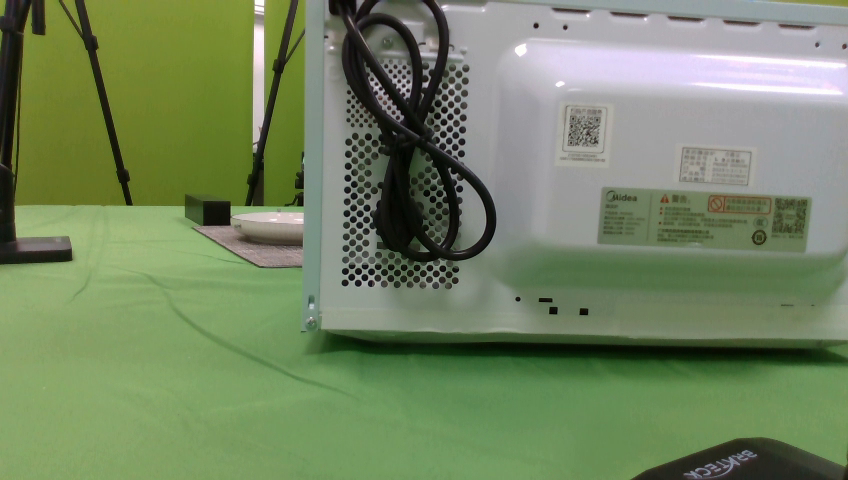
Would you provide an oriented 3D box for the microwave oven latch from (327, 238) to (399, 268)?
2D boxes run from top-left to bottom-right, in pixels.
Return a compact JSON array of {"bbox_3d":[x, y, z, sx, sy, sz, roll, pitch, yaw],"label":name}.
[{"bbox_3d":[-0.069,0.015,0.694,0.079,0.029,0.030,3,7,-3],"label":"microwave oven latch"}]

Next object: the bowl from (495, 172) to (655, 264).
[{"bbox_3d":[0.144,-0.023,0.592,0.151,0.077,0.151,1,11,0],"label":"bowl"}]

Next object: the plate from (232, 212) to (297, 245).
[{"bbox_3d":[-0.214,-0.019,1.018,0.208,0.039,0.207,3,7,0],"label":"plate"}]

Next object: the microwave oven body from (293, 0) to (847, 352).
[{"bbox_3d":[0.122,-0.055,0.550,0.442,0.260,0.325,3,7,-5],"label":"microwave oven body"}]

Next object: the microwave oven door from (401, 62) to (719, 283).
[{"bbox_3d":[0.155,-0.079,0.717,0.356,0.243,0.039,3,7,2],"label":"microwave oven door"}]
